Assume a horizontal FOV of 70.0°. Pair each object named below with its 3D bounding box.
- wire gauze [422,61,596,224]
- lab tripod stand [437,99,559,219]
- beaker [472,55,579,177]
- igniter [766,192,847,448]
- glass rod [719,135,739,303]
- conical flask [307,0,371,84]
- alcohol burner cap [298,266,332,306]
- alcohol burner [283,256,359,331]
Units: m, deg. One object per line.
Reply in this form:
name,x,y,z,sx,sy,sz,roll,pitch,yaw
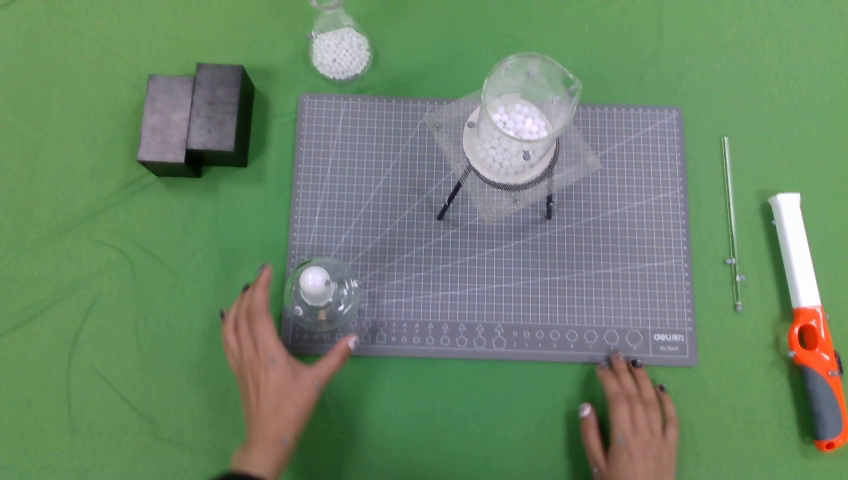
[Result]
wire gauze,0.080,-0.091,0.564,0.125,0.011,0.121,-27,83,-8
lab tripod stand,0.078,-0.073,0.627,0.148,0.132,0.148,0,80,-1
beaker,0.082,-0.101,0.517,0.084,0.100,0.073,-19,80,-5
igniter,0.416,0.082,0.659,0.057,0.025,0.275,-2,78,-12
glass rod,0.348,-0.027,0.691,0.008,0.008,0.199,1,78,-1
conical flask,-0.099,-0.231,0.665,0.075,0.122,0.075,0,77,-1
alcohol burner cap,-0.104,0.041,0.572,0.034,0.048,0.033,3,70,-7
alcohol burner,-0.105,0.051,0.607,0.078,0.119,0.077,1,76,-3
